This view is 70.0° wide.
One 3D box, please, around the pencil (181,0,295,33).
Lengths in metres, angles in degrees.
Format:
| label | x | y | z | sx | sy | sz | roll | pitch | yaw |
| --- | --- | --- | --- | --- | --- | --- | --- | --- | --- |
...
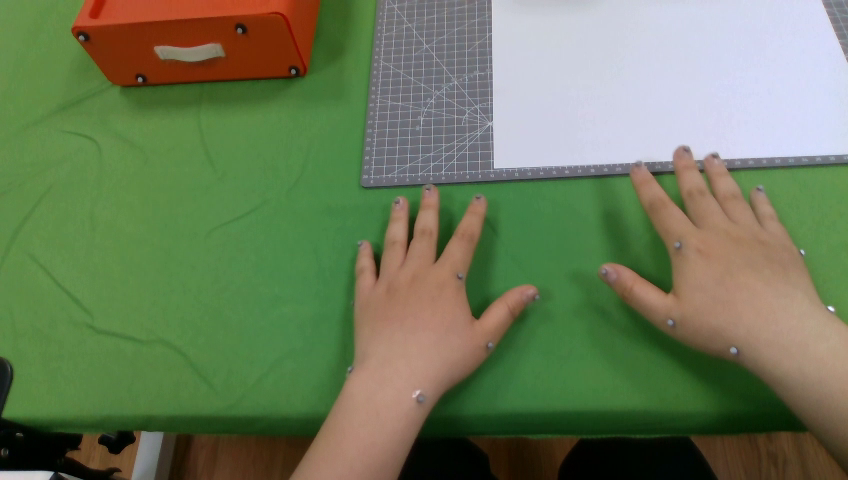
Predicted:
| label | x | y | z | sx | sy | sz | roll | pitch | yaw |
| --- | --- | --- | --- | --- | --- | --- | --- | --- | --- |
| pencil | -0.207 | -0.239 | 0.628 | 0.192 | 0.012 | 0.012 | 23 | 66 | 25 |

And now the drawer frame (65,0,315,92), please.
| label | x | y | z | sx | sy | sz | roll | pitch | yaw |
| --- | --- | --- | --- | --- | --- | --- | --- | --- | --- |
| drawer frame | -0.212 | -0.253 | 0.601 | 0.201 | 0.083 | 0.211 | -3 | 59 | 7 |

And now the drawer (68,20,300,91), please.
| label | x | y | z | sx | sy | sz | roll | pitch | yaw |
| --- | --- | --- | --- | --- | --- | --- | --- | --- | --- |
| drawer | -0.212 | -0.250 | 0.601 | 0.194 | 0.074 | 0.210 | -2 | 59 | 7 |
